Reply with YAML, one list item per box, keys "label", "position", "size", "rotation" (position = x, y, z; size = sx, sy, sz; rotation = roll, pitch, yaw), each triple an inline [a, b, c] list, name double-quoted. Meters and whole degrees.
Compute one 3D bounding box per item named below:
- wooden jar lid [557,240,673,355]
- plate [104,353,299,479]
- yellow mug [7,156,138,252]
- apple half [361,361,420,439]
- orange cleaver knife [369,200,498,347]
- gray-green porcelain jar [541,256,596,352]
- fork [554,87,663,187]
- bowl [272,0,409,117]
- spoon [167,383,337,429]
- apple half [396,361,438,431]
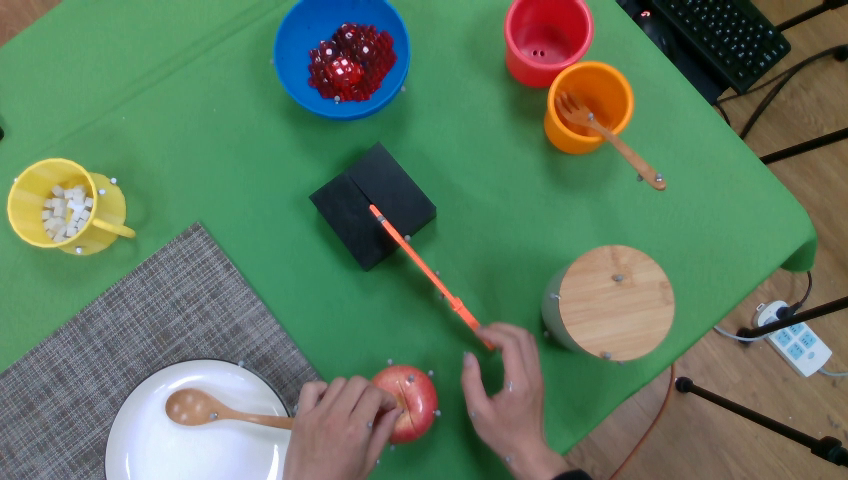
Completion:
- label: "wooden jar lid"
  position: [0.178, 0.054, 0.572]
  size: [0.108, 0.021, 0.108]
  rotation: [0, 85, -1]
- label: "plate"
  position: [-0.238, 0.228, 0.661]
  size: [0.209, 0.038, 0.208]
  rotation: [0, 83, 1]
- label: "yellow mug"
  position: [-0.388, -0.033, 0.686]
  size: [0.131, 0.064, 0.100]
  rotation: [22, 83, 3]
- label: "apple half"
  position: [-0.039, 0.175, 0.651]
  size: [0.053, 0.075, 0.080]
  rotation: [-19, 86, 2]
- label: "orange cleaver knife"
  position: [0.012, 0.038, 0.657]
  size: [0.012, 0.076, 0.213]
  rotation: [-41, 116, 0]
- label: "gray-green porcelain jar"
  position: [0.181, 0.064, 0.634]
  size: [0.106, 0.127, 0.105]
  rotation: [0, 82, 2]
- label: "fork"
  position: [0.192, -0.114, 0.643]
  size: [0.028, 0.019, 0.205]
  rotation: [-20, 39, -5]
- label: "bowl"
  position: [-0.090, -0.204, 0.695]
  size: [0.151, 0.077, 0.151]
  rotation: [0, 83, 1]
- label: "spoon"
  position: [-0.187, 0.186, 0.652]
  size: [0.193, 0.022, 0.041]
  rotation: [5, 74, 14]
- label: "apple half"
  position: [-0.002, 0.161, 0.650]
  size: [0.033, 0.081, 0.081]
  rotation: [-21, 82, 3]
